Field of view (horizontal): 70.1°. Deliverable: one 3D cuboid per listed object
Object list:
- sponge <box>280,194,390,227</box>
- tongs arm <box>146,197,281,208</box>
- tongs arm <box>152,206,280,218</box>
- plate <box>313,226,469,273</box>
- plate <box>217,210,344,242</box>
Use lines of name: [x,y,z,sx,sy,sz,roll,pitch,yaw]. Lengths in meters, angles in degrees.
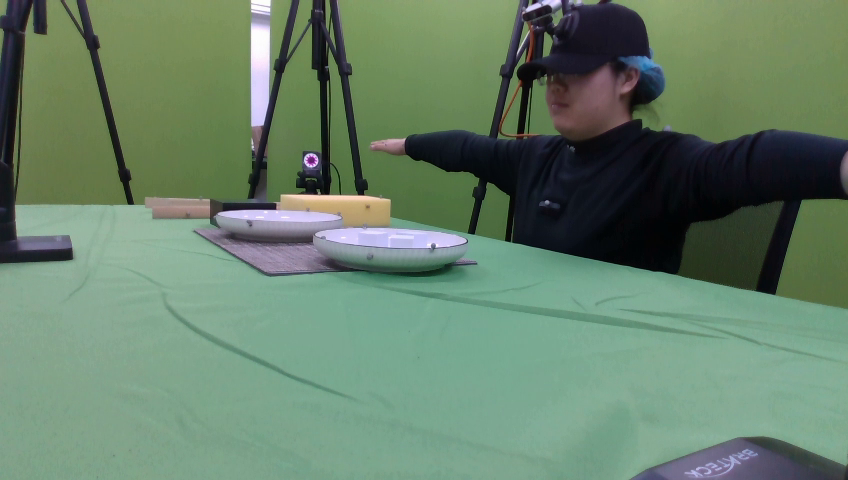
sponge: [-0.189,-0.064,1.291,0.208,0.061,0.117,-2,9,-35]
tongs arm: [-0.437,-0.079,1.415,0.387,0.026,0.050,1,8,-25]
tongs arm: [-0.397,-0.064,1.345,0.390,0.028,0.028,-3,7,-38]
plate: [-0.044,0.012,0.807,0.209,0.038,0.209,2,7,0]
plate: [-0.241,-0.024,1.026,0.208,0.039,0.207,3,7,0]
